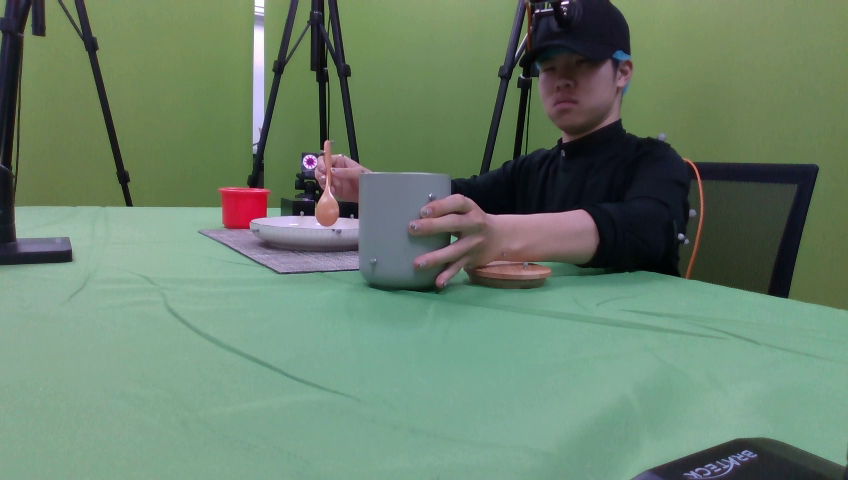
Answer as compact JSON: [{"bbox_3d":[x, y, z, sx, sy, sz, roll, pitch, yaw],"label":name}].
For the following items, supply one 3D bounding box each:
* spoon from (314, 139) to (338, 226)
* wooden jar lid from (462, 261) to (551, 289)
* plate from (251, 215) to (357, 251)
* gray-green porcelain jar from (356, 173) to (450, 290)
[{"bbox_3d":[-0.167,-0.102,1.036,0.041,0.022,0.193,-14,50,9],"label":"spoon"},{"bbox_3d":[0.100,0.043,0.742,0.108,0.020,0.108,2,5,0],"label":"wooden jar lid"},{"bbox_3d":[-0.170,-0.012,0.971,0.208,0.039,0.207,2,7,0],"label":"plate"},{"bbox_3d":[-0.024,-0.011,0.685,0.106,0.126,0.106,0,5,0],"label":"gray-green porcelain jar"}]
